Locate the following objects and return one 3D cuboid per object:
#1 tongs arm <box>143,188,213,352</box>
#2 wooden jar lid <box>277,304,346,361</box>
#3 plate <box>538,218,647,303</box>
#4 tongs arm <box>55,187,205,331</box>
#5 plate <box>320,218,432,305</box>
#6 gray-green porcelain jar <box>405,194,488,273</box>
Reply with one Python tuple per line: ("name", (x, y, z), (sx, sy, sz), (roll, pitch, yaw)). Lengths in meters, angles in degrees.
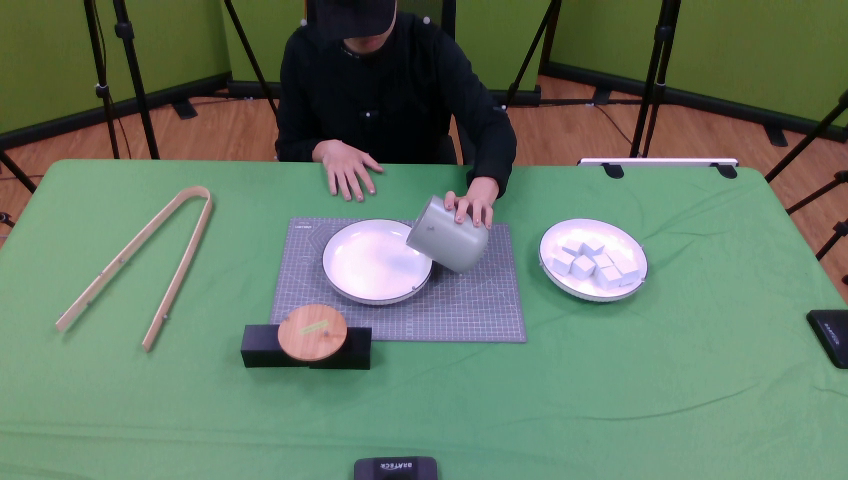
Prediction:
("tongs arm", (-0.450, 0.040, 1.122), (0.028, 0.028, 0.385), (3, 46, 0))
("wooden jar lid", (-0.179, 0.150, 0.972), (0.108, 0.021, 0.107), (2, 45, -2))
("plate", (0.322, 0.043, 1.171), (0.208, 0.039, 0.206), (2, 46, -2))
("tongs arm", (-0.530, 0.022, 1.126), (0.051, 0.026, 0.383), (15, 46, 7))
("plate", (-0.089, 0.044, 1.134), (0.209, 0.038, 0.208), (3, 46, -2))
("gray-green porcelain jar", (0.044, -0.008, 1.095), (0.127, 0.106, 0.105), (29, 47, -6))
